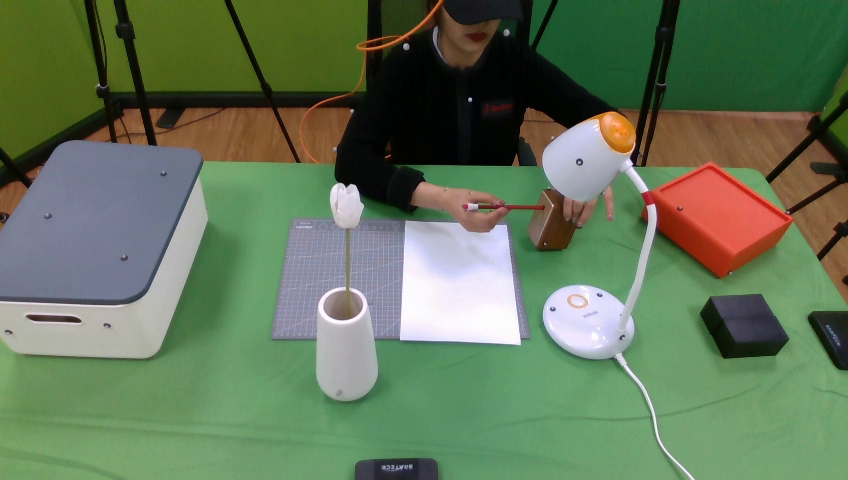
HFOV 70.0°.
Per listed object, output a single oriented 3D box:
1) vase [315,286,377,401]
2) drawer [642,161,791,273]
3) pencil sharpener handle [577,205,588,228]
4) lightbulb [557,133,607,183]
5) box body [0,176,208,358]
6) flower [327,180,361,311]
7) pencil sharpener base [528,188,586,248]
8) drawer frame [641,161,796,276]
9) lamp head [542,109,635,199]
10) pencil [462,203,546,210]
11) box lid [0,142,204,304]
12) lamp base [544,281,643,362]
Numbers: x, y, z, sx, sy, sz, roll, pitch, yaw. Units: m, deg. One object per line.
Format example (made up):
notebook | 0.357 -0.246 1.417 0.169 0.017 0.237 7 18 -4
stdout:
vase | -0.119 0.159 0.911 0.098 0.201 0.097 2 47 -2
drawer | 0.596 -0.052 1.245 0.194 0.073 0.210 -23 52 -25
pencil sharpener handle | 0.311 -0.050 1.196 0.031 0.068 0.035 1 42 -19
lightbulb | 0.242 -0.127 0.916 0.059 0.108 0.059 5 67 -12
box body | -0.546 0.017 1.045 0.254 0.161 0.361 2 46 -2
flower | -0.110 0.086 0.867 0.044 0.363 0.038 22 33 35
pencil sharpener base | 0.260 -0.041 1.185 0.077 0.107 0.061 2 37 -19
drawer frame | 0.599 -0.051 1.244 0.202 0.083 0.212 -24 53 -25
lamp head | 0.253 -0.131 0.893 0.113 0.123 0.112 10 66 -24
pencil | 0.164 -0.062 1.139 0.194 0.012 0.012 0 45 -16
box lid | -0.533 -0.044 0.995 0.263 0.015 0.369 3 45 -3
lamp base | 0.304 0.095 1.014 0.161 0.181 0.178 -24 54 -24
